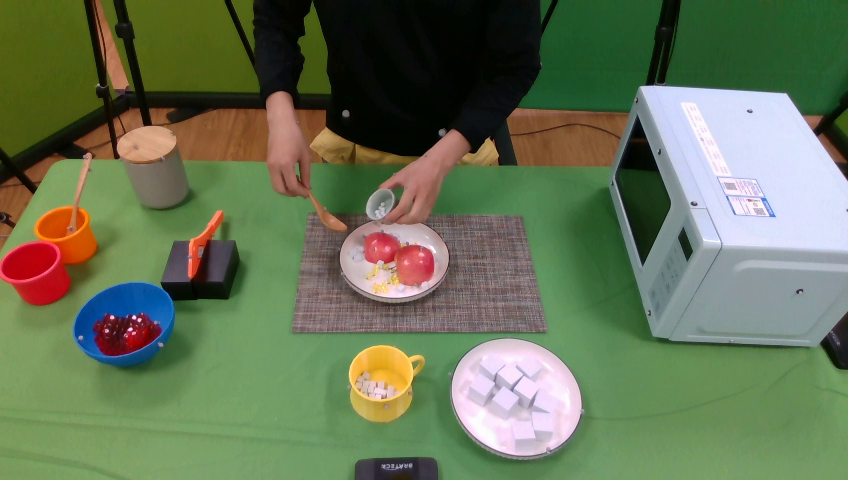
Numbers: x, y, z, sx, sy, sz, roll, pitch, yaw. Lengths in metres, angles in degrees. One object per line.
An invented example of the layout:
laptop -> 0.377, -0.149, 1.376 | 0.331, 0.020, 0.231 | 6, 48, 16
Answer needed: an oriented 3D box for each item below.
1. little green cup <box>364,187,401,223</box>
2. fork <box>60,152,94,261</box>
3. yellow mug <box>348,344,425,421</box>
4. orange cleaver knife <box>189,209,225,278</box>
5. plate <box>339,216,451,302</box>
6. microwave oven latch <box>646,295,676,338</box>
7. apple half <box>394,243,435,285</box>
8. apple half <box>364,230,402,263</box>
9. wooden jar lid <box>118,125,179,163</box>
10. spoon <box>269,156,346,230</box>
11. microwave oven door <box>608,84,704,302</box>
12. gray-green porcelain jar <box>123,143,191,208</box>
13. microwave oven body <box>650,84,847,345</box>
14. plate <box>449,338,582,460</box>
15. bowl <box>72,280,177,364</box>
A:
little green cup -> -0.073, -0.060, 1.090 | 0.061, 0.039, 0.061 | -6, 72, 17
fork -> -0.638, -0.063, 1.119 | 0.028, 0.018, 0.207 | 12, 90, 8
yellow mug -> -0.054, 0.216, 0.954 | 0.131, 0.064, 0.099 | -24, 53, -25
orange cleaver knife -> -0.400, 0.002, 1.122 | 0.012, 0.077, 0.210 | 4, 23, -4
plate -> -0.054, 0.038, 1.137 | 0.209, 0.038, 0.208 | 2, 46, -2
microwave oven latch -> 0.413, 0.133, 1.060 | 0.030, 0.029, 0.078 | 4, 46, 1
apple half -> -0.016, 0.036, 1.120 | 0.075, 0.053, 0.080 | 1, 46, -6
apple half -> -0.079, 0.004, 1.159 | 0.081, 0.033, 0.081 | 3, 49, -3
wooden jar lid -> -0.528, -0.181, 1.167 | 0.108, 0.021, 0.107 | 4, 48, -4
spoon -> -0.213, -0.086, 1.103 | 0.193, 0.021, 0.041 | 48, 33, 5
microwave oven door -> 0.424, -0.096, 1.138 | 0.039, 0.245, 0.353 | 2, 47, -1
gray-green porcelain jar -> -0.530, -0.137, 1.213 | 0.106, 0.127, 0.105 | 2, 46, -2
microwave oven body -> 0.569, -0.054, 1.116 | 0.326, 0.261, 0.439 | 2, 46, -1
plate -> 0.141, 0.251, 0.955 | 0.208, 0.039, 0.206 | 2, 47, -2
bowl -> -0.472, 0.147, 0.982 | 0.151, 0.077, 0.150 | 2, 46, -2
